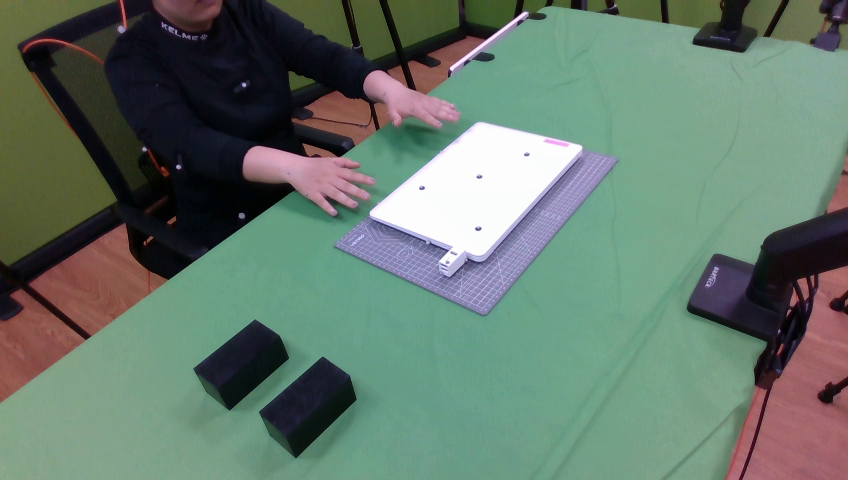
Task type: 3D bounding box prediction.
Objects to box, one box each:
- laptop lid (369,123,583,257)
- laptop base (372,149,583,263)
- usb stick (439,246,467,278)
[{"bbox_3d":[0.097,-0.106,1.065,0.240,0.013,0.358,22,48,33],"label":"laptop lid"},{"bbox_3d":[0.101,-0.097,1.071,0.233,0.023,0.355,20,47,32],"label":"laptop base"},{"bbox_3d":[0.048,0.028,0.913,0.021,0.027,0.059,23,46,31],"label":"usb stick"}]
